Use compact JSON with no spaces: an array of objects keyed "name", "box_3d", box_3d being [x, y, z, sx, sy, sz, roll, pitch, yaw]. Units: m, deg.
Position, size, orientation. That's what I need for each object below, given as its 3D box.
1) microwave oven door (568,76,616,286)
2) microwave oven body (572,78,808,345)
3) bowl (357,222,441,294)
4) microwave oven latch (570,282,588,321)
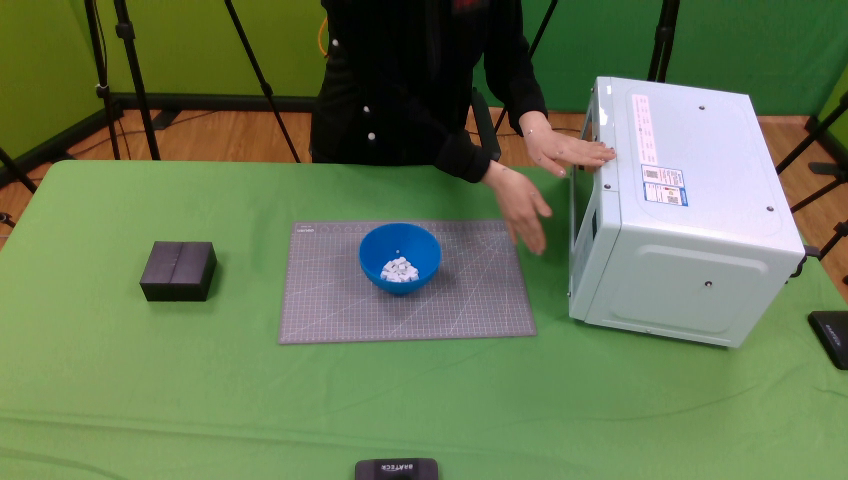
[{"name":"microwave oven door","box_3d":[0.319,-0.119,1.160,0.039,0.245,0.354,8,46,5]},{"name":"microwave oven body","box_3d":[0.456,-0.063,1.124,0.326,0.261,0.439,8,45,5]},{"name":"bowl","box_3d":[-0.046,0.046,1.107,0.151,0.077,0.150,2,46,-2]},{"name":"microwave oven latch","box_3d":[0.276,0.105,1.082,0.030,0.029,0.079,10,45,6]}]
